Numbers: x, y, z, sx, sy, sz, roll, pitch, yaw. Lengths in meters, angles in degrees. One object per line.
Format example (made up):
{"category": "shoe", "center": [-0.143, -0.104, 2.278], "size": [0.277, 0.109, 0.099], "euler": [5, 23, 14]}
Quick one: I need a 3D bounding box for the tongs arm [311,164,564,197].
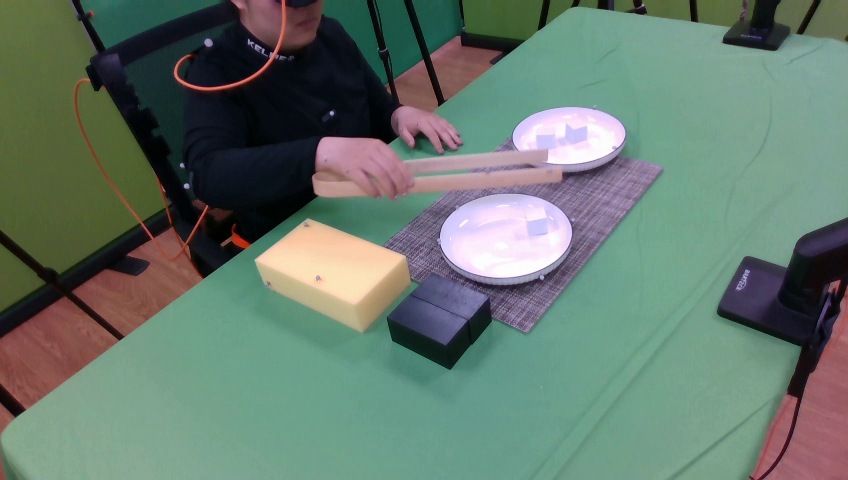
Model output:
{"category": "tongs arm", "center": [0.021, -0.096, 0.933], "size": [0.386, 0.026, 0.050], "euler": [-6, 31, -5]}

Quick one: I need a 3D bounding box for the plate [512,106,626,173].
{"category": "plate", "center": [0.269, -0.185, 1.132], "size": [0.209, 0.038, 0.208], "euler": [-5, 40, 5]}

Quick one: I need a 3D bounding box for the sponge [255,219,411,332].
{"category": "sponge", "center": [-0.139, 0.048, 0.922], "size": [0.205, 0.061, 0.118], "euler": [19, 47, 30]}

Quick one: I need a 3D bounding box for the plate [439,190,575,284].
{"category": "plate", "center": [0.129, -0.002, 0.942], "size": [0.207, 0.039, 0.206], "euler": [-5, 40, 5]}

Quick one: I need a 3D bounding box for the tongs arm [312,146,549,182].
{"category": "tongs arm", "center": [0.016, -0.120, 0.974], "size": [0.389, 0.028, 0.028], "euler": [-7, 35, -7]}
